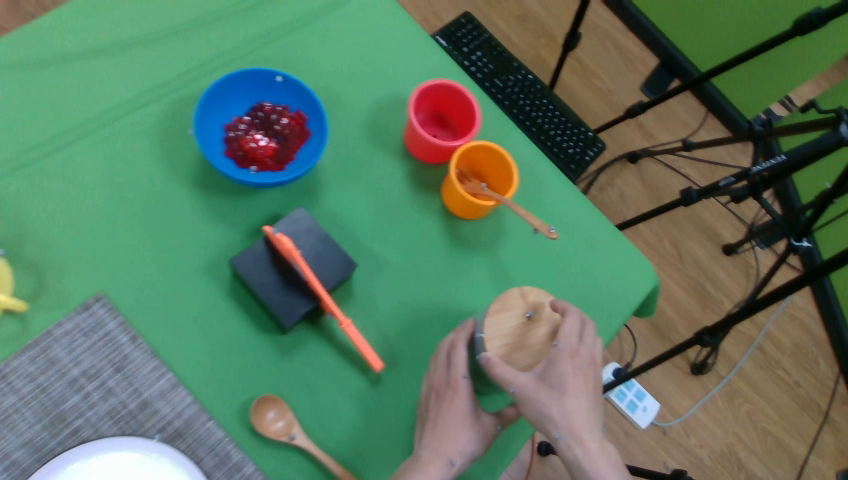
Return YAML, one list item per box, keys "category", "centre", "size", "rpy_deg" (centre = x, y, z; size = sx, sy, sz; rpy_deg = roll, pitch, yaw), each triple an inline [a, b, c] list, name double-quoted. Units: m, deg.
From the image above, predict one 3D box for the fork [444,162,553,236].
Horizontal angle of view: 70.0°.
- category: "fork"
  centre: [0.089, -0.054, 0.751]
  size: [0.028, 0.019, 0.205]
  rpy_deg: [-18, 34, -27]

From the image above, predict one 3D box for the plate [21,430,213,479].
- category: "plate"
  centre: [-0.303, 0.294, 0.590]
  size: [0.210, 0.038, 0.208]
  rpy_deg: [5, 72, -14]

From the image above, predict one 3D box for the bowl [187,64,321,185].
- category: "bowl"
  centre: [-0.204, -0.127, 0.735]
  size: [0.152, 0.077, 0.150]
  rpy_deg: [5, 72, -14]

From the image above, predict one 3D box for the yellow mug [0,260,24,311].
- category: "yellow mug"
  centre: [-0.474, 0.046, 0.613]
  size: [0.131, 0.064, 0.099]
  rpy_deg: [20, 68, -9]

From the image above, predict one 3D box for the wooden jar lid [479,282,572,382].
- category: "wooden jar lid"
  centre: [0.108, 0.099, 0.653]
  size: [0.109, 0.021, 0.107]
  rpy_deg: [5, 72, -16]

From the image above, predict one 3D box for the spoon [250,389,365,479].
- category: "spoon"
  centre: [-0.115, 0.235, 0.672]
  size: [0.194, 0.022, 0.041]
  rpy_deg: [39, 47, 0]

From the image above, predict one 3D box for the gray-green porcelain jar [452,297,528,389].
- category: "gray-green porcelain jar"
  centre: [0.094, 0.119, 0.711]
  size: [0.106, 0.127, 0.105]
  rpy_deg: [5, 71, -13]

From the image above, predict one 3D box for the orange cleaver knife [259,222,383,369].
- category: "orange cleaver knife"
  centre: [-0.118, 0.065, 0.694]
  size: [0.012, 0.076, 0.213]
  rpy_deg: [-41, 110, -19]
